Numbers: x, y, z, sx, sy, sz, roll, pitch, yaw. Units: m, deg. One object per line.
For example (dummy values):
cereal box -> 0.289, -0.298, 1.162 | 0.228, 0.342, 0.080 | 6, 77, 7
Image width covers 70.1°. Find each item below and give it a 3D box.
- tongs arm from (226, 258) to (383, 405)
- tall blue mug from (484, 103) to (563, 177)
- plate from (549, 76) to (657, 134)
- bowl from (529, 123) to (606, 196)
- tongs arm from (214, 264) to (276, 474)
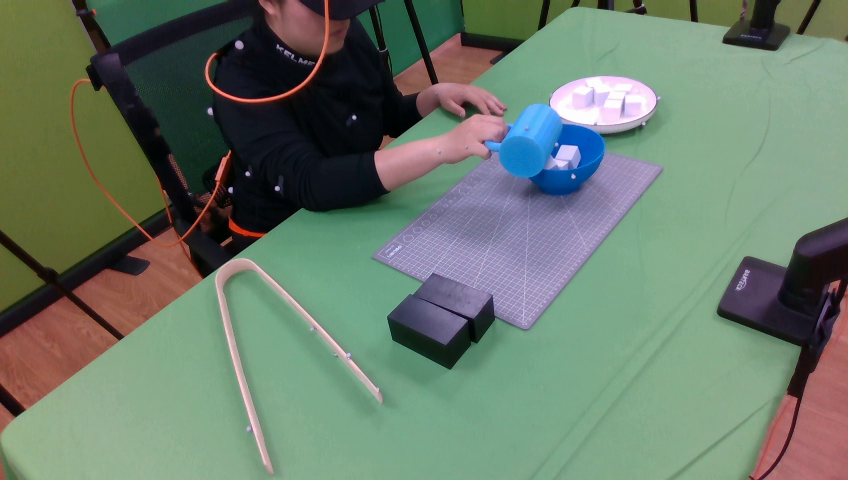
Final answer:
tongs arm -> -0.185, 0.121, 0.863 | 0.051, 0.027, 0.381 | -34, 45, -20
tall blue mug -> 0.159, -0.168, 0.970 | 0.107, 0.078, 0.108 | 30, 46, 3
plate -> 0.357, -0.268, 1.220 | 0.209, 0.038, 0.208 | -5, 40, 5
bowl -> 0.235, -0.131, 1.045 | 0.151, 0.077, 0.150 | -5, 40, 5
tongs arm -> -0.252, 0.159, 0.837 | 0.028, 0.028, 0.384 | -27, 43, -8
